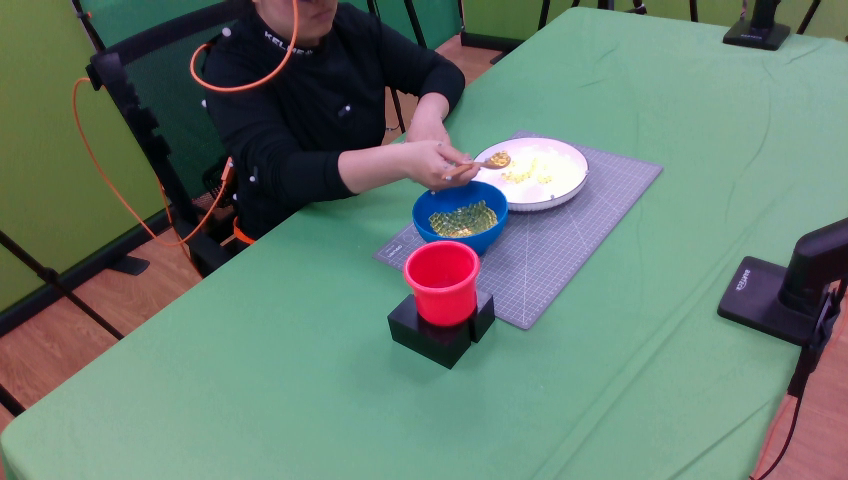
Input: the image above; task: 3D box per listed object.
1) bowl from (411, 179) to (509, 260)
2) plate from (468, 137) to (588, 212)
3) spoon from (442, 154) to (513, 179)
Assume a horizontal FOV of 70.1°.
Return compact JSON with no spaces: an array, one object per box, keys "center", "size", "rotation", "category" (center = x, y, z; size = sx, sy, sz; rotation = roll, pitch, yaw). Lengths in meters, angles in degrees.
[{"center":[0.060,-0.022,0.949],"size":[0.151,0.077,0.150],"rotation":[-5,40,5],"category":"bowl"},{"center":[0.182,-0.112,1.064],"size":[0.207,0.039,0.206],"rotation":[-5,40,5],"category":"plate"},{"center":[0.081,-0.115,0.933],"size":[0.041,0.021,0.195],"rotation":[21,22,30],"category":"spoon"}]
